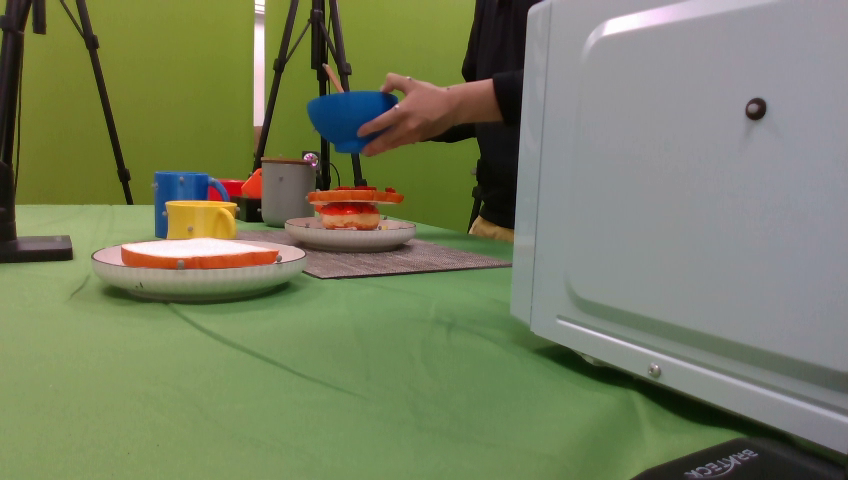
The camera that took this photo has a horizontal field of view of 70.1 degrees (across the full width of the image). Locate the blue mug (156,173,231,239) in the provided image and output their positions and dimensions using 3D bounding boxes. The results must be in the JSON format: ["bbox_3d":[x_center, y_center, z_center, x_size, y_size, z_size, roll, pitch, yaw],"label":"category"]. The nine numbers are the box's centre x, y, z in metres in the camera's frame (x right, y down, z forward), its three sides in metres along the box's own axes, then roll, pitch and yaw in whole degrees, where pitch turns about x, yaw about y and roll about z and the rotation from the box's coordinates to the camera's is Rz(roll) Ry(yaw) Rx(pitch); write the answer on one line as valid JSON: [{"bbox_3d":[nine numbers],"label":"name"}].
[{"bbox_3d":[-0.381,-0.057,1.004,0.117,0.106,0.082,0,8,-12],"label":"blue mug"}]

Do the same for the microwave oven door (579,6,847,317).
[{"bbox_3d":[0.294,-0.067,0.570,0.358,0.243,0.039,-3,9,-31],"label":"microwave oven door"}]

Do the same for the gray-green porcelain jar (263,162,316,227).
[{"bbox_3d":[-0.271,-0.092,1.217,0.106,0.126,0.106,2,7,0],"label":"gray-green porcelain jar"}]

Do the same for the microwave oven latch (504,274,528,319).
[{"bbox_3d":[0.100,0.041,0.471,0.079,0.029,0.030,-1,7,-28],"label":"microwave oven latch"}]

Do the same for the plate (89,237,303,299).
[{"bbox_3d":[-0.233,0.029,0.636,0.208,0.039,0.207,2,7,0],"label":"plate"}]

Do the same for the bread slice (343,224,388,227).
[{"bbox_3d":[-0.103,-0.011,0.961,0.131,0.019,0.105,5,10,24],"label":"bread slice"}]

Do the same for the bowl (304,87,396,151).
[{"bbox_3d":[-0.115,-0.191,0.986,0.151,0.077,0.151,-7,0,0],"label":"bowl"}]

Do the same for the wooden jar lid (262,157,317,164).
[{"bbox_3d":[-0.269,-0.154,1.208,0.108,0.020,0.108,3,4,0],"label":"wooden jar lid"}]

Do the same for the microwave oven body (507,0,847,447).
[{"bbox_3d":[0.331,-0.042,0.425,0.444,0.260,0.324,-2,8,-31],"label":"microwave oven body"}]

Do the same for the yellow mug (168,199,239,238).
[{"bbox_3d":[-0.320,-0.023,0.904,0.130,0.064,0.100,9,11,36],"label":"yellow mug"}]

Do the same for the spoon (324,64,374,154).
[{"bbox_3d":[-0.141,-0.244,1.123,0.021,0.193,0.042,-26,-6,32],"label":"spoon"}]

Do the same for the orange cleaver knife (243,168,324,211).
[{"bbox_3d":[-0.300,-0.089,1.351,0.212,0.077,0.012,28,-9,-34],"label":"orange cleaver knife"}]

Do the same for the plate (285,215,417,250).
[{"bbox_3d":[-0.116,-0.014,0.964,0.209,0.038,0.209,2,8,0],"label":"plate"}]

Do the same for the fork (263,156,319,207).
[{"bbox_3d":[-0.331,-0.144,1.505,0.207,0.018,0.028,-42,-20,22],"label":"fork"}]

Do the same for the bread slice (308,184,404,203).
[{"bbox_3d":[-0.114,-0.072,0.953,0.134,0.018,0.107,-3,-1,22],"label":"bread slice"}]

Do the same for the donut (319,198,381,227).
[{"bbox_3d":[-0.117,-0.042,0.965,0.099,0.048,0.099,-9,-7,-1],"label":"donut"}]
